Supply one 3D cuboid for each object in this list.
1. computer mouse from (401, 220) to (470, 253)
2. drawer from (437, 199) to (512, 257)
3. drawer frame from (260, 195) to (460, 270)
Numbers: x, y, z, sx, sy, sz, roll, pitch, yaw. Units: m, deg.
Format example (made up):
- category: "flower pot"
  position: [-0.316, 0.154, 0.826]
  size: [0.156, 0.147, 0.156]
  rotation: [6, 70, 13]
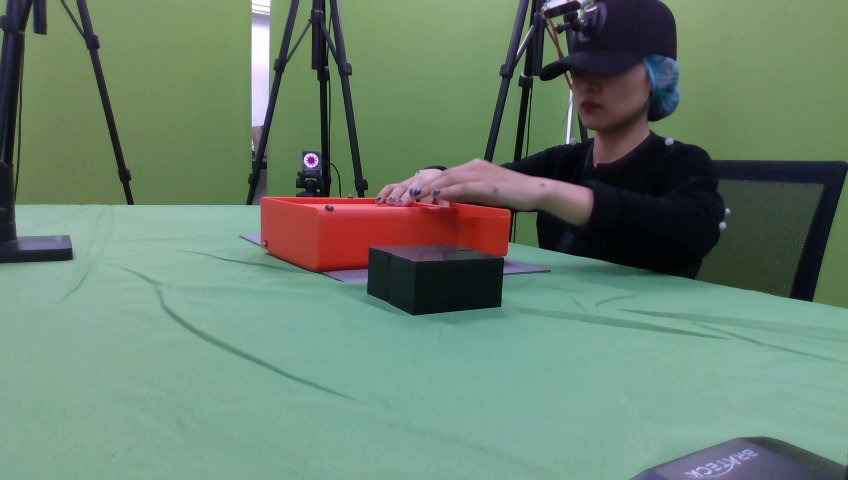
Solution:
- category: "computer mouse"
  position: [0.016, -0.007, 0.908]
  size: [0.063, 0.041, 0.116]
  rotation: [2, 11, -32]
- category: "drawer"
  position: [-0.011, -0.020, 0.900]
  size: [0.213, 0.073, 0.193]
  rotation: [-3, 9, -34]
- category: "drawer frame"
  position: [-0.092, -0.018, 0.846]
  size: [0.215, 0.082, 0.200]
  rotation: [-4, 10, -35]
